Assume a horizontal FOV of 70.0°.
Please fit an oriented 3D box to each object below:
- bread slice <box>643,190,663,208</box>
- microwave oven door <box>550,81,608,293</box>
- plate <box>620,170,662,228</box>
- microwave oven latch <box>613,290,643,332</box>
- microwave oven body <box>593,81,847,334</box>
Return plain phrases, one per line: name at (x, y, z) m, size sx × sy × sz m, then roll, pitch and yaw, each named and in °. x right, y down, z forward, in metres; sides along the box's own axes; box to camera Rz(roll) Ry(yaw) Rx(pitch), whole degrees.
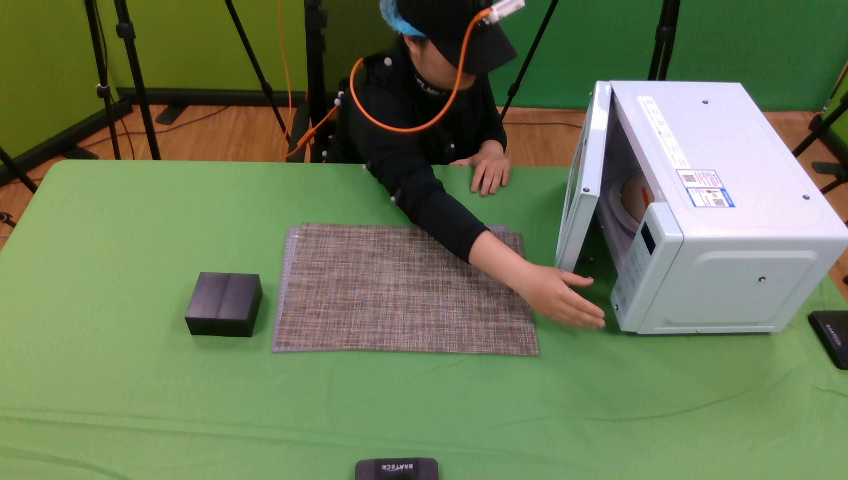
bread slice at (0.493, -0.055, 1.197) m, size 0.105 × 0.019 × 0.131 m, roll 5°, pitch 40°, yaw 4°
microwave oven door at (0.300, -0.109, 1.149) m, size 0.039 × 0.245 × 0.354 m, roll 13°, pitch 47°, yaw 8°
plate at (0.489, -0.059, 1.194) m, size 0.209 × 0.038 × 0.208 m, roll 3°, pitch 46°, yaw -3°
microwave oven latch at (0.357, 0.124, 1.068) m, size 0.030 × 0.029 × 0.078 m, roll 1°, pitch 45°, yaw -2°
microwave oven body at (0.501, -0.070, 1.132) m, size 0.326 × 0.261 × 0.438 m, roll -1°, pitch 45°, yaw -3°
